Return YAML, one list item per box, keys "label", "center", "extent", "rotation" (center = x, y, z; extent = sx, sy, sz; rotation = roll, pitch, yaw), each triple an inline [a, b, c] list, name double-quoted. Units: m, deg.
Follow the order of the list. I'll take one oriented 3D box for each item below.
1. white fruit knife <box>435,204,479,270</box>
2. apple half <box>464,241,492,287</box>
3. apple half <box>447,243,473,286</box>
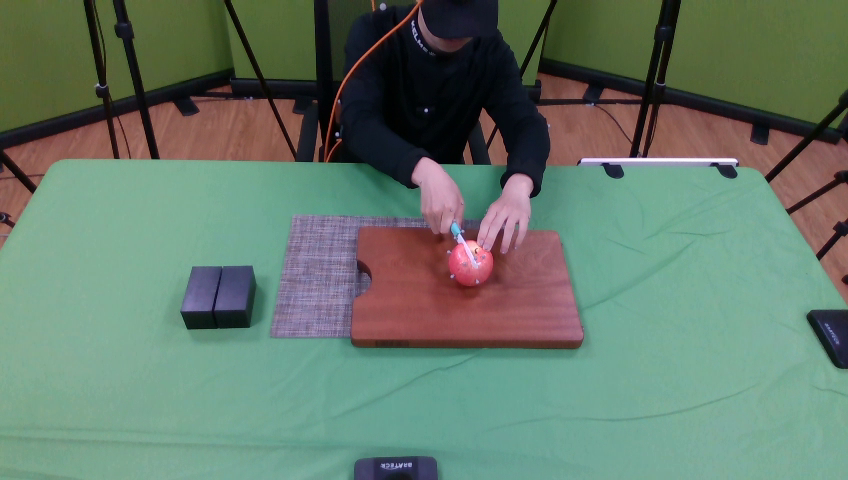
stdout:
- label: "white fruit knife"
  center: [0.060, -0.009, 1.101]
  extent: [0.016, 0.027, 0.206]
  rotation: [-8, 37, -17]
- label: "apple half"
  center: [0.095, 0.043, 1.093]
  extent: [0.053, 0.075, 0.080]
  rotation: [-7, 44, -17]
- label: "apple half"
  center: [0.058, 0.049, 1.083]
  extent: [0.033, 0.081, 0.080]
  rotation: [-10, 47, -15]
